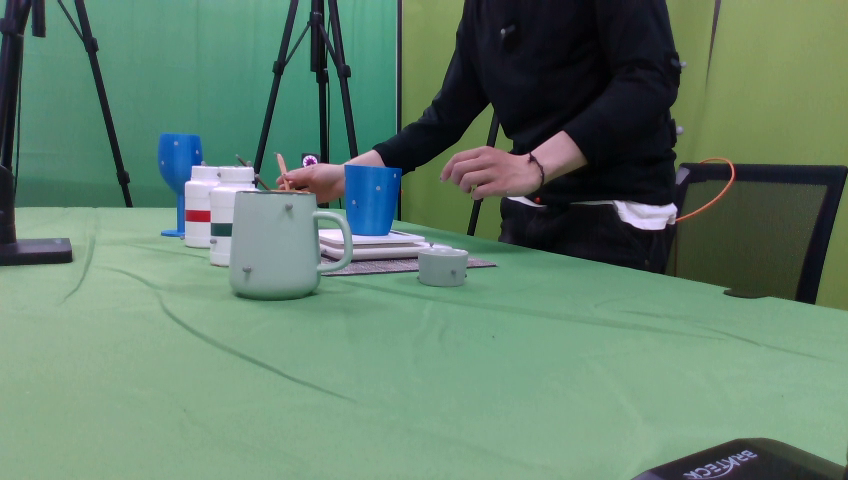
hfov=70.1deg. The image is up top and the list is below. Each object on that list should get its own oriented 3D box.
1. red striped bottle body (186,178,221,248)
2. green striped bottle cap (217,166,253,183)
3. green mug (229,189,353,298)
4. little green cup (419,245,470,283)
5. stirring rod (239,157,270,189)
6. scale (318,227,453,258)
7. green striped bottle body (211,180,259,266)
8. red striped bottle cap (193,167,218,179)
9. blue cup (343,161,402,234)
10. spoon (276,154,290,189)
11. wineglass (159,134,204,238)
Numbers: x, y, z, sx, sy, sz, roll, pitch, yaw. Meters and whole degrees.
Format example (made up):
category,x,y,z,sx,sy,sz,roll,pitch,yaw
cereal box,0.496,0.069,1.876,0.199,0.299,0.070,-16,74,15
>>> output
category,x,y,z,sx,sy,sz,roll,pitch,yaw
red striped bottle body,-0.331,-0.050,0.927,0.063,0.119,0.063,2,6,0
green striped bottle cap,-0.242,-0.085,0.777,0.044,0.020,0.044,2,9,0
green mug,-0.135,0.002,0.618,0.125,0.105,0.092,2,7,4
little green cup,0.023,0.028,0.712,0.061,0.038,0.061,2,6,0
stirring rod,-0.308,-0.098,1.212,0.006,0.177,0.014,-39,27,0
scale,-0.067,0.001,0.906,0.202,0.031,0.148,-2,8,-31
green striped bottle body,-0.243,-0.029,0.784,0.063,0.119,0.063,2,7,0
red striped bottle cap,-0.329,-0.103,0.921,0.044,0.017,0.044,-1,8,0
blue cup,-0.078,-0.062,0.884,0.093,0.100,0.092,4,6,0
spoon,-0.282,-0.107,1.245,0.042,0.193,0.021,12,-40,-40
wineglass,-0.415,-0.093,1.040,0.074,0.172,0.073,2,7,0
